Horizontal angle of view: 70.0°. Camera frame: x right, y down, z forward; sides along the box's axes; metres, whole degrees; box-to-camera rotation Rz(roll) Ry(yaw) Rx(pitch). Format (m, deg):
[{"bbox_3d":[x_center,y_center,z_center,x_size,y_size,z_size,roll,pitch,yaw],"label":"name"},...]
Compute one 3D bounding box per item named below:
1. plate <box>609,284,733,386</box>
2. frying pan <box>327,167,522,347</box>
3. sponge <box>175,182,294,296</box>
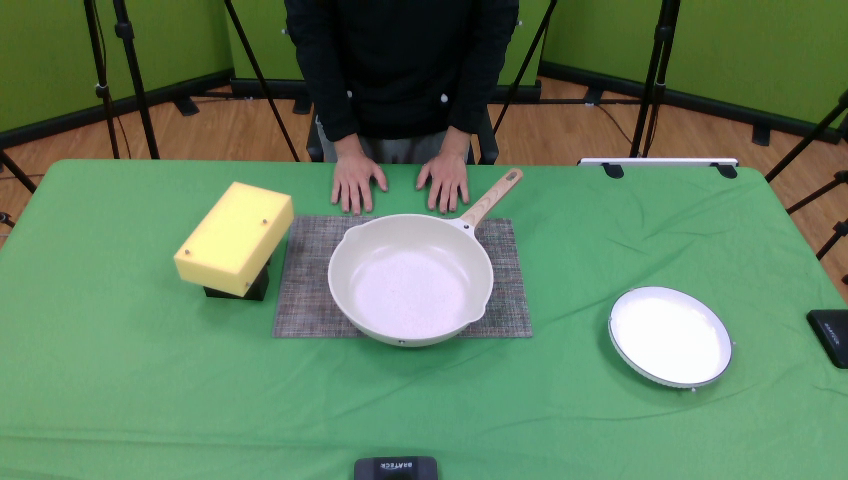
[{"bbox_3d":[0.425,0.167,1.059,0.208,0.039,0.206,2,46,-2],"label":"plate"},{"bbox_3d":[0.042,0.009,1.132,0.305,0.103,0.487,34,61,24],"label":"frying pan"},{"bbox_3d":[-0.333,-0.007,1.086,0.118,0.061,0.206,13,47,9],"label":"sponge"}]
